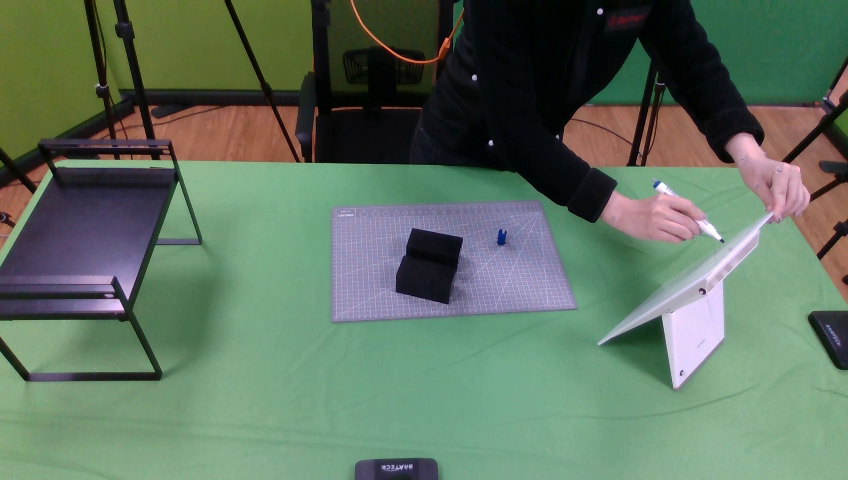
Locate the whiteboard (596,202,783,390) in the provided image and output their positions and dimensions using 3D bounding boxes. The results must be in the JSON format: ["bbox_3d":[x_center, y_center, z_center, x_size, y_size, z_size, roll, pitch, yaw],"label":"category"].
[{"bbox_3d":[0.460,0.112,0.967,0.217,0.306,0.143,-31,74,-29],"label":"whiteboard"}]

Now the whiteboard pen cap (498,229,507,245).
[{"bbox_3d":[0.156,-0.005,1.202,0.018,0.033,0.018,0,44,0],"label":"whiteboard pen cap"}]

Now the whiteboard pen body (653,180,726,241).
[{"bbox_3d":[0.422,-0.046,0.962,0.140,0.017,0.017,43,56,11],"label":"whiteboard pen body"}]
